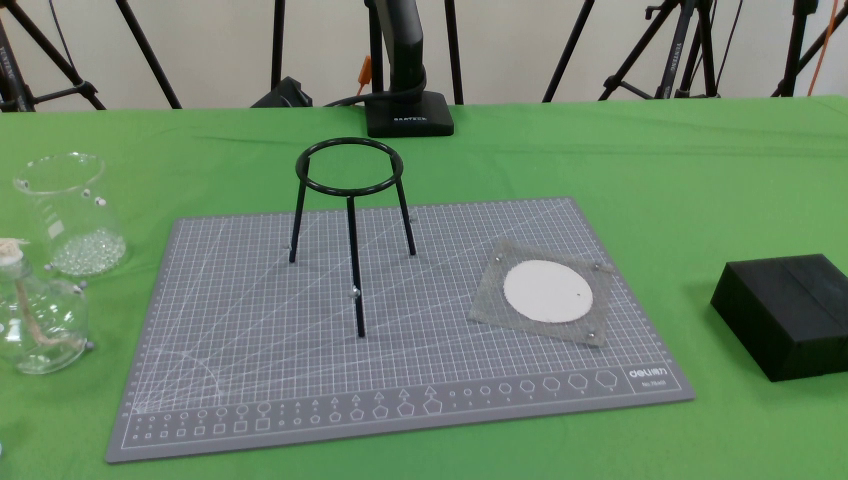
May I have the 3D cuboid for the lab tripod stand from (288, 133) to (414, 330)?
[{"bbox_3d":[-0.063,-0.015,0.542,0.148,0.132,0.147,3,39,-2],"label":"lab tripod stand"}]

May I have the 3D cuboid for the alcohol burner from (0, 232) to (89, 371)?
[{"bbox_3d":[-0.308,0.044,0.471,0.078,0.120,0.077,3,36,-1],"label":"alcohol burner"}]

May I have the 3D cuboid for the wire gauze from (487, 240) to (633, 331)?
[{"bbox_3d":[0.122,0.037,0.565,0.125,0.011,0.120,6,35,-6],"label":"wire gauze"}]

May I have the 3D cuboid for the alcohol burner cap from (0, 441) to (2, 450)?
[{"bbox_3d":[-0.316,0.134,0.413,0.034,0.048,0.033,2,37,-1],"label":"alcohol burner cap"}]

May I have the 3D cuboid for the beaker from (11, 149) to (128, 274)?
[{"bbox_3d":[-0.327,-0.026,0.572,0.074,0.101,0.083,4,37,1],"label":"beaker"}]
